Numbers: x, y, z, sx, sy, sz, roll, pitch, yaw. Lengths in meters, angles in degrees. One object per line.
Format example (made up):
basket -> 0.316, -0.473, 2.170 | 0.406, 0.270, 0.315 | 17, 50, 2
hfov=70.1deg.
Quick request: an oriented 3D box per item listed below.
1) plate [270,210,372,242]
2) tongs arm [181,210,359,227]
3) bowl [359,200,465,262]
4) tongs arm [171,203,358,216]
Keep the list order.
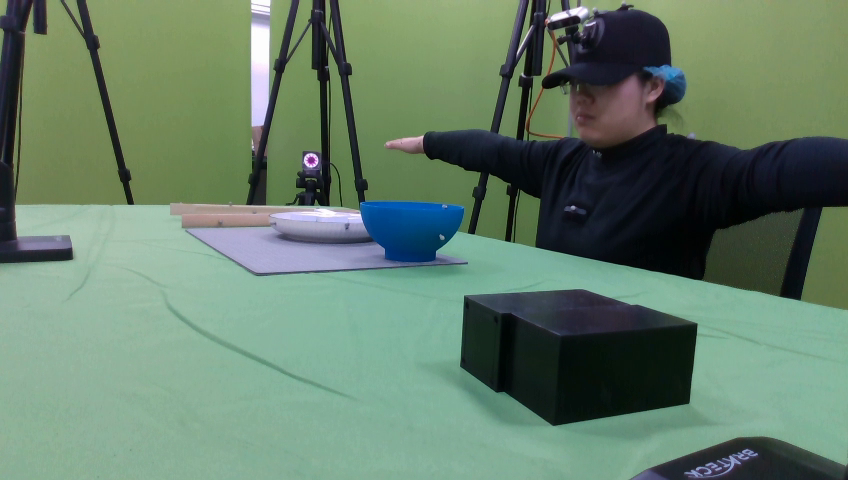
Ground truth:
plate -> -0.161, -0.024, 1.054 | 0.208, 0.039, 0.207 | 2, 7, 0
tongs arm -> -0.291, -0.044, 1.225 | 0.390, 0.028, 0.028 | -3, 6, -38
bowl -> -0.018, -0.013, 0.859 | 0.151, 0.077, 0.151 | 2, 7, 0
tongs arm -> -0.331, -0.058, 1.295 | 0.387, 0.026, 0.050 | 0, 8, -25
